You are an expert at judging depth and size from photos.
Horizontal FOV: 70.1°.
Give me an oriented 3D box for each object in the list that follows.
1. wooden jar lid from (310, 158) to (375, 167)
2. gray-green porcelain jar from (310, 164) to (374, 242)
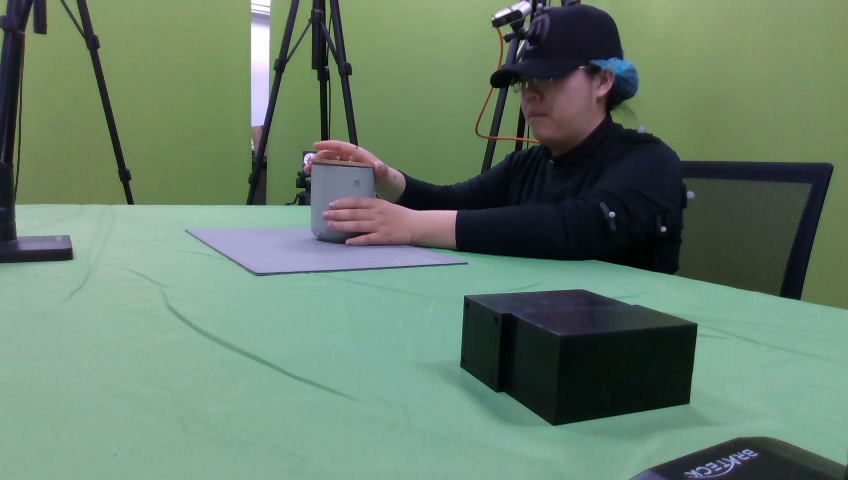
[{"bbox_3d":[-0.136,-0.124,1.015,0.108,0.020,0.108,5,8,0],"label":"wooden jar lid"},{"bbox_3d":[-0.139,-0.063,1.023,0.106,0.126,0.106,3,8,0],"label":"gray-green porcelain jar"}]
